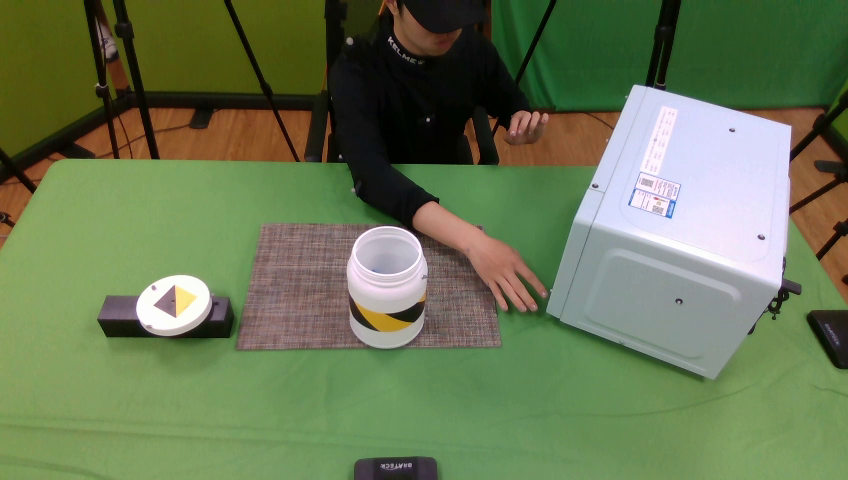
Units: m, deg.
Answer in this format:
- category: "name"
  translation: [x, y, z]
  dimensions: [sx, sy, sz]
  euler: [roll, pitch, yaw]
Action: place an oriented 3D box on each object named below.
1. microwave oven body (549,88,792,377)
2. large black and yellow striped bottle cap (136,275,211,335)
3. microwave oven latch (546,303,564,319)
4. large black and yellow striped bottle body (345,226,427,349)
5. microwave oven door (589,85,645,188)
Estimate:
- category: "microwave oven body"
  translation: [0.456, -0.028, 1.088]
  dimensions: [0.325, 0.261, 0.440]
  euler: [20, 47, 16]
- category: "large black and yellow striped bottle cap"
  translation: [-0.412, 0.105, 0.999]
  dimensions: [0.115, 0.019, 0.114]
  euler: [3, 46, -3]
- category: "microwave oven latch"
  translation: [0.242, 0.102, 1.081]
  dimensions: [0.030, 0.029, 0.079]
  euler: [21, 48, 17]
- category: "large black and yellow striped bottle body"
  translation: [-0.062, 0.078, 0.998]
  dimensions: [0.131, 0.185, 0.130]
  euler: [2, 46, -2]
- category: "microwave oven door"
  translation: [0.341, -0.107, 1.149]
  dimensions: [0.039, 0.245, 0.354]
  euler: [20, 48, 15]
